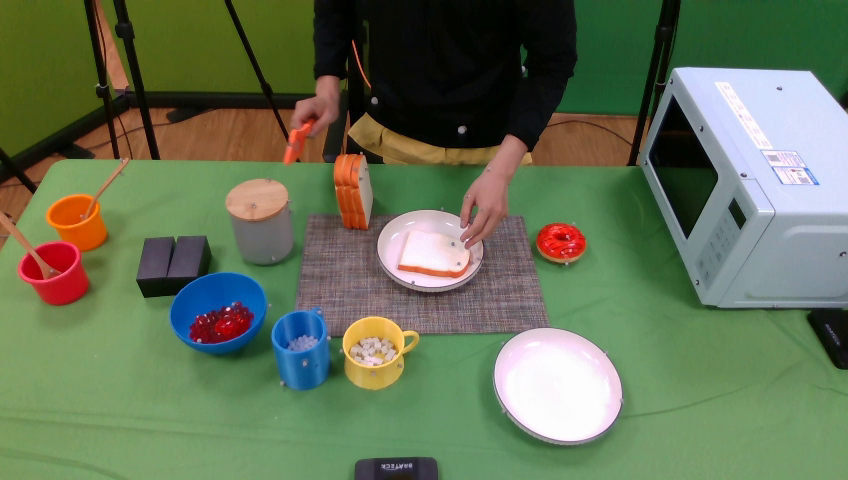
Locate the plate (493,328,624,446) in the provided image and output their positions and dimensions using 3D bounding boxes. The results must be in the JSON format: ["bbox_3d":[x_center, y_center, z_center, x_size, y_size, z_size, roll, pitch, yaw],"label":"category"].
[{"bbox_3d":[0.213,0.236,0.974,0.208,0.039,0.206,2,46,-2],"label":"plate"}]

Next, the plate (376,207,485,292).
[{"bbox_3d":[0.012,0.021,1.159,0.209,0.038,0.208,3,47,-3],"label":"plate"}]

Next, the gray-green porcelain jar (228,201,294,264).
[{"bbox_3d":[-0.299,-0.027,1.126,0.106,0.127,0.105,2,46,-2],"label":"gray-green porcelain jar"}]

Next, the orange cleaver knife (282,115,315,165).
[{"bbox_3d":[-0.247,-0.202,1.200,0.012,0.077,0.210,15,22,-3],"label":"orange cleaver knife"}]

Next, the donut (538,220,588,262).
[{"bbox_3d":[0.273,0.001,1.198,0.099,0.048,0.098,0,46,0],"label":"donut"}]

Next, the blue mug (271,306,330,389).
[{"bbox_3d":[-0.188,0.163,0.969,0.082,0.106,0.116,15,47,10],"label":"blue mug"}]

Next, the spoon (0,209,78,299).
[{"bbox_3d":[-0.668,0.021,1.040,0.041,0.021,0.194,-41,105,-30],"label":"spoon"}]

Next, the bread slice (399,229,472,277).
[{"bbox_3d":[0.026,0.024,1.161,0.131,0.019,0.104,8,48,8],"label":"bread slice"}]

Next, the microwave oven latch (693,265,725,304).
[{"bbox_3d":[0.522,0.081,1.115,0.030,0.029,0.078,2,46,-1],"label":"microwave oven latch"}]

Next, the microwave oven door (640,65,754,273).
[{"bbox_3d":[0.523,-0.147,1.193,0.039,0.245,0.353,0,47,-3],"label":"microwave oven door"}]

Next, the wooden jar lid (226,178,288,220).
[{"bbox_3d":[-0.296,-0.070,1.081,0.108,0.021,0.107,1,45,-1],"label":"wooden jar lid"}]

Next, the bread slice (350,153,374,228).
[{"bbox_3d":[-0.123,-0.104,1.207,0.018,0.135,0.106,-1,48,7],"label":"bread slice"}]

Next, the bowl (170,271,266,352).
[{"bbox_3d":[-0.333,0.132,1.006,0.151,0.077,0.150,2,46,-2],"label":"bowl"}]

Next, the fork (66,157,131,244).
[{"bbox_3d":[-0.608,-0.074,1.132,0.207,0.019,0.028,-52,48,10],"label":"fork"}]

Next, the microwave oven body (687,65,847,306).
[{"bbox_3d":[0.669,-0.111,1.176,0.326,0.261,0.439,0,46,-3],"label":"microwave oven body"}]

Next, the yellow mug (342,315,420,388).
[{"bbox_3d":[-0.068,0.177,0.990,0.131,0.064,0.099,-15,50,-19],"label":"yellow mug"}]
